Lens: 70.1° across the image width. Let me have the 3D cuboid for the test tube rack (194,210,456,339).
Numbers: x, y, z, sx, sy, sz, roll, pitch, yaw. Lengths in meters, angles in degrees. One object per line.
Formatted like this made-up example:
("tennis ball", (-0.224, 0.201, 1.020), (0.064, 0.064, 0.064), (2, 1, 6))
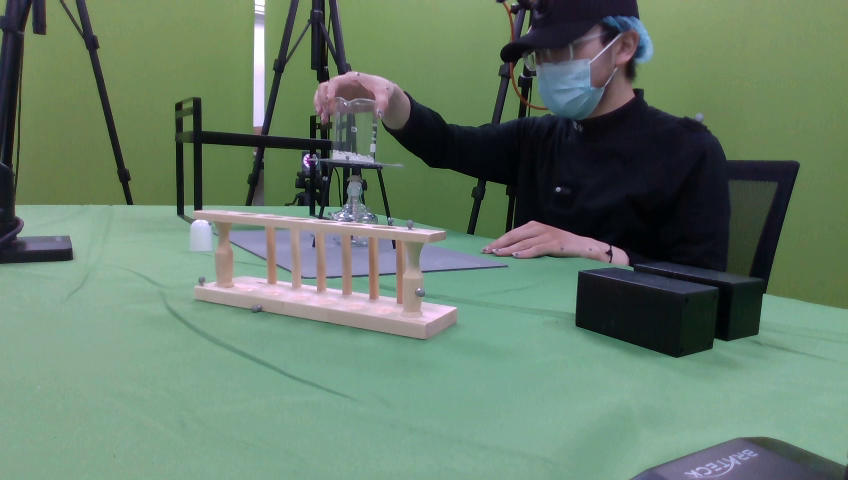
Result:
("test tube rack", (-0.093, 0.023, 0.545), (0.241, 0.085, 0.067), (6, 8, 25))

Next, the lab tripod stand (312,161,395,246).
("lab tripod stand", (-0.110, -0.058, 0.970), (0.148, 0.131, 0.148), (4, 6, 0))

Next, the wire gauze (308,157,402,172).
("wire gauze", (-0.111, -0.122, 0.956), (0.125, 0.011, 0.121), (4, 8, -22))

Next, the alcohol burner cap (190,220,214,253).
("alcohol burner cap", (-0.321, -0.006, 0.875), (0.034, 0.048, 0.034), (4, 8, 0))

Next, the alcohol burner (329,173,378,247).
("alcohol burner", (-0.113, -0.049, 0.972), (0.078, 0.119, 0.078), (1, 9, 0))

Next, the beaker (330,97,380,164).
("beaker", (-0.111, -0.172, 0.952), (0.074, 0.100, 0.084), (6, 8, 6))
